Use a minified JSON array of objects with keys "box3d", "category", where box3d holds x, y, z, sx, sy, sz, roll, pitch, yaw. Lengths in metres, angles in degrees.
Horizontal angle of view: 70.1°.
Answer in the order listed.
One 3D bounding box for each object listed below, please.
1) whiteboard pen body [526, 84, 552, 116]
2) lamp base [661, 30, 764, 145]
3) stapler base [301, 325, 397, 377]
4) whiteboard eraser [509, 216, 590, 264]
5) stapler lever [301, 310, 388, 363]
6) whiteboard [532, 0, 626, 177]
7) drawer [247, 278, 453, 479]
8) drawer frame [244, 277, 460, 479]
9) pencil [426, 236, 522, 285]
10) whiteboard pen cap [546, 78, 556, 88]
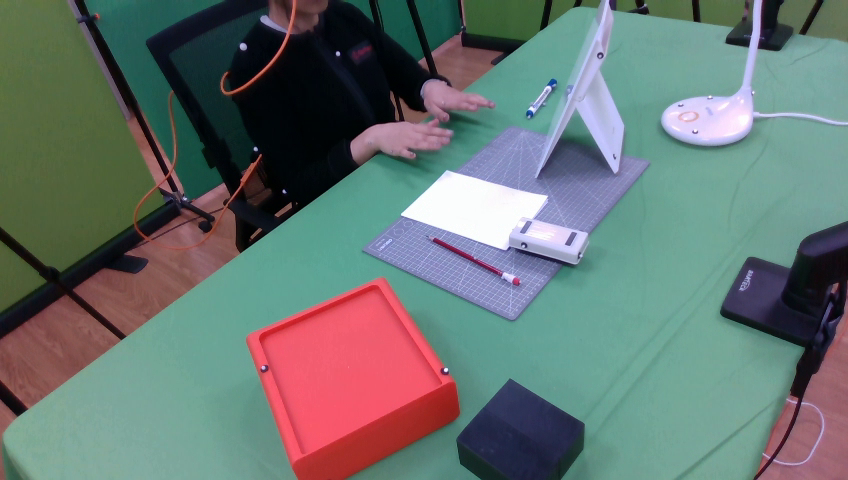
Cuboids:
[{"box3d":[0.251,-0.306,1.297,0.017,0.017,0.141,15,46,26],"category":"whiteboard pen body"},{"box3d":[0.535,-0.287,1.096,0.179,0.181,0.159,-10,40,-4],"category":"lamp base"},{"box3d":[-0.102,0.142,0.815,0.131,0.024,0.041,-18,42,-13],"category":"stapler base"},{"box3d":[0.191,0.002,0.924,0.112,0.042,0.055,16,45,26],"category":"whiteboard eraser"},{"box3d":[-0.105,0.126,0.798,0.118,0.040,0.026,-17,41,-15],"category":"stapler lever"},{"box3d":[0.321,-0.258,1.050,0.144,0.306,0.217,21,45,5],"category":"whiteboard"},{"box3d":[-0.096,0.167,0.758,0.195,0.073,0.210,-22,43,-16],"category":"drawer"},{"box3d":[-0.093,0.167,0.755,0.202,0.083,0.211,-23,43,-17],"category":"drawer frame"},{"box3d":[0.072,0.028,0.941,0.192,0.012,0.012,26,52,37],"category":"pencil"},{"box3d":[0.280,-0.344,1.335,0.018,0.018,0.033,15,45,25],"category":"whiteboard pen cap"}]
